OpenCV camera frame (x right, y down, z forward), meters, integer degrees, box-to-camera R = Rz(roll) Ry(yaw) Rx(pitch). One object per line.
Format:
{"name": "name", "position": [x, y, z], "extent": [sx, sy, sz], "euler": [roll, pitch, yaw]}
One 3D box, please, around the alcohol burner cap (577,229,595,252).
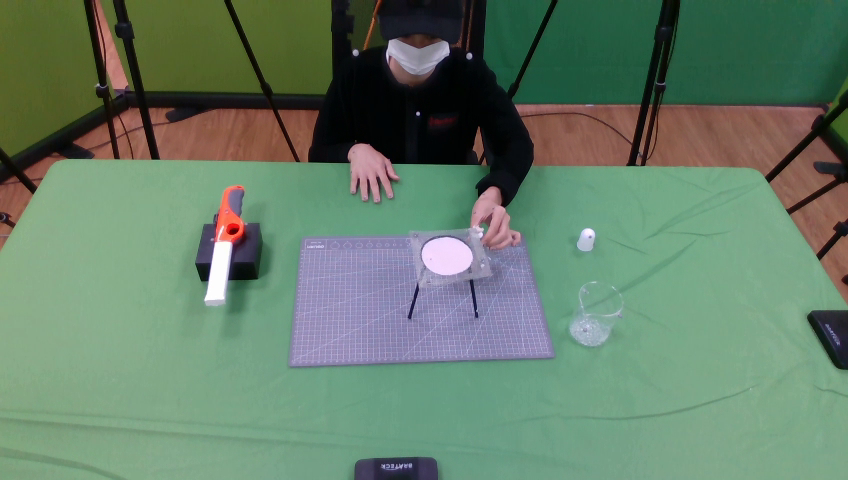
{"name": "alcohol burner cap", "position": [0.326, -0.002, 1.213], "extent": [0.034, 0.048, 0.033], "euler": [1, 48, -1]}

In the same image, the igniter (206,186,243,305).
{"name": "igniter", "position": [-0.361, 0.001, 1.100], "extent": [0.057, 0.025, 0.274], "euler": [-2, 49, -6]}

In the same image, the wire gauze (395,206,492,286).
{"name": "wire gauze", "position": [0.031, 0.010, 0.993], "extent": [0.125, 0.011, 0.120], "euler": [-24, 57, -17]}

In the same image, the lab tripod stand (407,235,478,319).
{"name": "lab tripod stand", "position": [0.032, 0.065, 1.057], "extent": [0.148, 0.132, 0.147], "euler": [1, 45, -1]}

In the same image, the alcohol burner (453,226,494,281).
{"name": "alcohol burner", "position": [0.093, 0.019, 1.120], "extent": [0.078, 0.120, 0.077], "euler": [1, 47, -1]}

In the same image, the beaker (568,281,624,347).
{"name": "beaker", "position": [0.290, 0.132, 1.041], "extent": [0.084, 0.101, 0.073], "euler": [-34, 57, -31]}
